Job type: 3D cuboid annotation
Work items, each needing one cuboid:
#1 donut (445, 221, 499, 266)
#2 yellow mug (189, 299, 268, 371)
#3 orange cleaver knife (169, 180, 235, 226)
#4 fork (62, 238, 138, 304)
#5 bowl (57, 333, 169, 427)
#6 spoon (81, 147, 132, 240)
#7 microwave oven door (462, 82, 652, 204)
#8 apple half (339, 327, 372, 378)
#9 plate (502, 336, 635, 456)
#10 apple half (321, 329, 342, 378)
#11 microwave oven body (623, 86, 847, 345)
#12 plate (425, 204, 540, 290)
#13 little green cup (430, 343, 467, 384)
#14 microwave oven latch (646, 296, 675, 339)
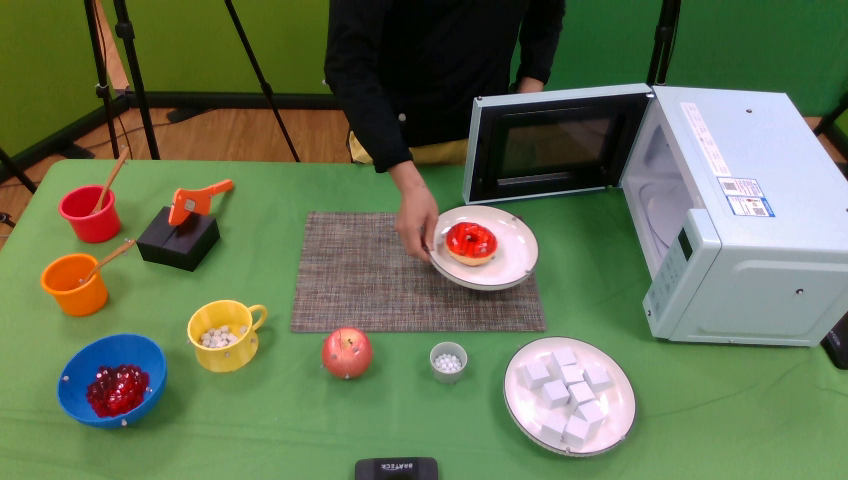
[{"bbox_3d":[0.087,0.005,1.100,0.099,0.048,0.098,4,43,-3],"label":"donut"},{"bbox_3d":[-0.316,0.148,1.002,0.131,0.064,0.099,-33,56,-31],"label":"yellow mug"},{"bbox_3d":[-0.436,-0.076,1.199,0.012,0.077,0.211,17,17,9],"label":"orange cleaver knife"},{"bbox_3d":[-0.546,0.053,1.018,0.207,0.019,0.028,-36,41,23],"label":"fork"},{"bbox_3d":[-0.456,0.223,0.912,0.151,0.077,0.150,3,45,-2],"label":"bowl"},{"bbox_3d":[-0.603,-0.089,1.156,0.041,0.022,0.193,27,95,19],"label":"spoon"},{"bbox_3d":[0.261,-0.194,1.226,0.356,0.245,0.039,-7,47,-11],"label":"microwave oven door"},{"bbox_3d":[-0.111,0.182,0.980,0.053,0.075,0.080,-2,42,-12],"label":"apple half"},{"bbox_3d":[0.225,0.248,0.963,0.208,0.039,0.206,2,46,-2],"label":"plate"},{"bbox_3d":[-0.149,0.185,0.972,0.033,0.081,0.080,-2,46,-12],"label":"apple half"},{"bbox_3d":[0.567,-0.053,1.118,0.326,0.261,0.439,2,45,-1],"label":"microwave oven body"},{"bbox_3d":[0.105,0.016,1.106,0.209,0.038,0.208,3,45,-3],"label":"plate"},{"bbox_3d":[0.039,0.203,0.994,0.061,0.039,0.061,2,46,-2],"label":"little green cup"},{"bbox_3d":[0.412,0.134,1.061,0.030,0.029,0.078,4,45,1],"label":"microwave oven latch"}]
